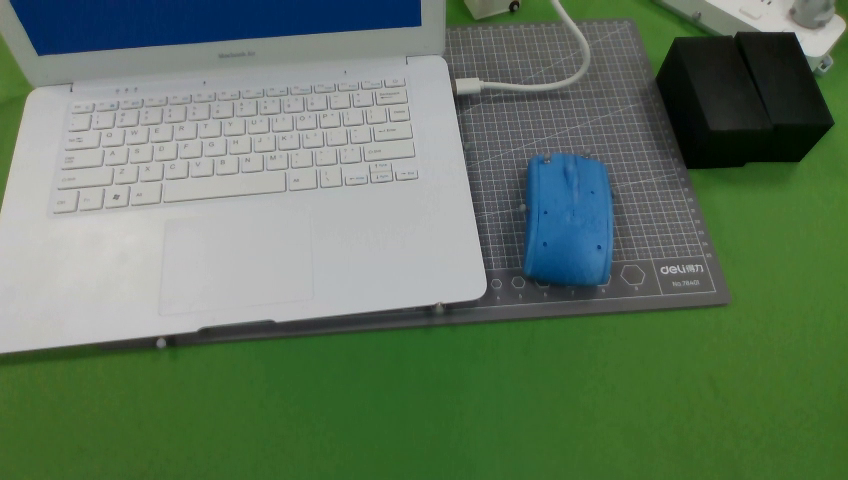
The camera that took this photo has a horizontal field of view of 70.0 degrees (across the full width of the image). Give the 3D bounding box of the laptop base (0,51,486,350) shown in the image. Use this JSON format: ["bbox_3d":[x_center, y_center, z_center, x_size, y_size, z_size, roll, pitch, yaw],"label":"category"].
[{"bbox_3d":[-0.143,-0.043,0.472,0.355,0.023,0.233,-6,65,-4],"label":"laptop base"}]

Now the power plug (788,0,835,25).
[{"bbox_3d":[0.362,-0.218,0.548,0.072,0.053,0.035,-34,66,-16],"label":"power plug"}]

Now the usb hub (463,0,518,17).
[{"bbox_3d":[0.045,-0.275,0.599,0.049,0.025,0.124,-19,63,-11],"label":"usb hub"}]

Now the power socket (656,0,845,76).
[{"bbox_3d":[0.288,-0.234,0.580,0.225,0.033,0.072,40,67,18],"label":"power socket"}]

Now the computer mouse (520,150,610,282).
[{"bbox_3d":[0.106,-0.023,0.454,0.063,0.041,0.116,7,57,5],"label":"computer mouse"}]

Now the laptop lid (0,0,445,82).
[{"bbox_3d":[-0.160,-0.226,0.438,0.357,0.244,0.013,-7,48,-3],"label":"laptop lid"}]
